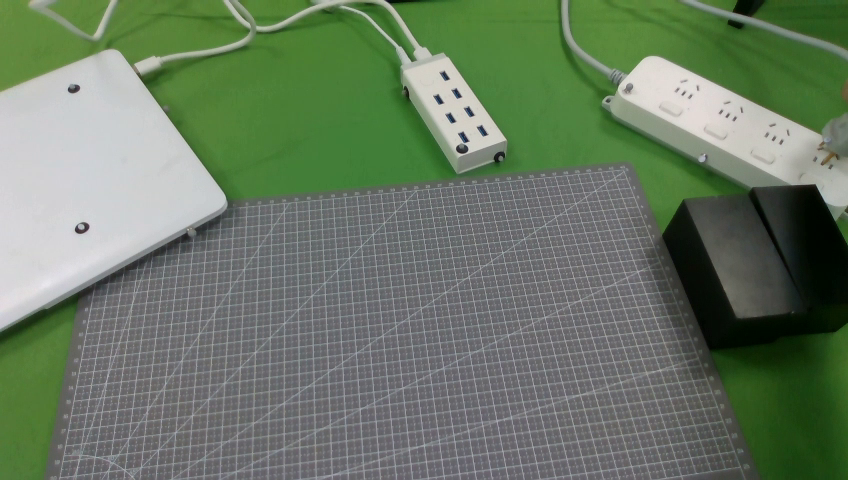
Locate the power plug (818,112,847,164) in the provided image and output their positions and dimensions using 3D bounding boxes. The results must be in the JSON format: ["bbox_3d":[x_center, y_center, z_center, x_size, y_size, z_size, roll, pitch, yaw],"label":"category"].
[{"bbox_3d":[0.345,-0.093,0.486,0.035,0.053,0.072,42,63,15],"label":"power plug"}]

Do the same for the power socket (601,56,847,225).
[{"bbox_3d":[0.267,-0.092,0.528,0.225,0.033,0.072,35,63,20],"label":"power socket"}]

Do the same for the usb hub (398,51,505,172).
[{"bbox_3d":[0.022,-0.119,0.547,0.049,0.025,0.124,-21,60,-13],"label":"usb hub"}]

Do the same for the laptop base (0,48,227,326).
[{"bbox_3d":[-0.364,-0.016,0.479,0.354,0.023,0.233,-33,66,-20],"label":"laptop base"}]

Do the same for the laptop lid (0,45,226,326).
[{"bbox_3d":[-0.363,-0.021,0.468,0.357,0.013,0.239,-31,64,-19],"label":"laptop lid"}]
